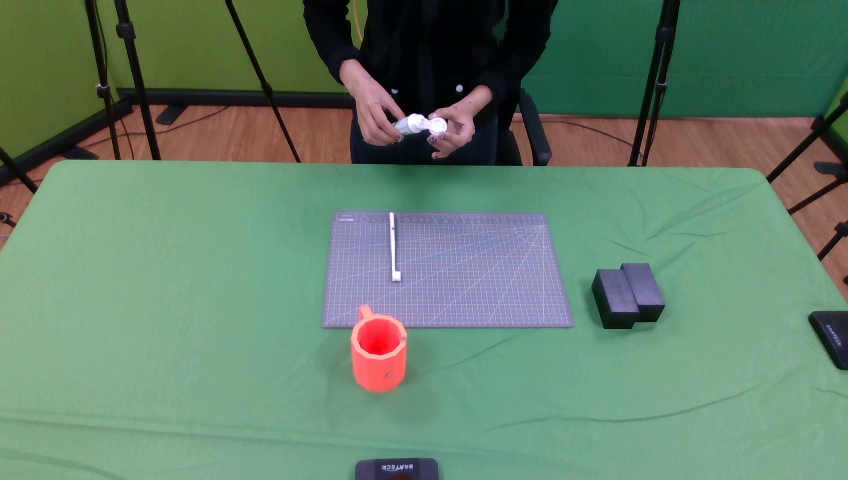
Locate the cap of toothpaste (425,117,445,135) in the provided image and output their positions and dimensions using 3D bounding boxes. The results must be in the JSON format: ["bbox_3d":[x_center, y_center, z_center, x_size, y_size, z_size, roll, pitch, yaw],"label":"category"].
[{"bbox_3d":[0.020,-0.211,1.114,0.037,0.011,0.037,0,79,0],"label":"cap of toothpaste"}]

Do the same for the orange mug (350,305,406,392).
[{"bbox_3d":[-0.080,0.168,0.978,0.083,0.101,0.125,-16,54,-18],"label":"orange mug"}]

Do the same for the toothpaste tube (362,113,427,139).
[{"bbox_3d":[-0.051,-0.213,1.161,0.055,0.034,0.164,-12,5,-39],"label":"toothpaste tube"}]

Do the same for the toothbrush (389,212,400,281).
[{"bbox_3d":[-0.059,0.010,1.186,0.017,0.014,0.180,1,46,-8],"label":"toothbrush"}]
